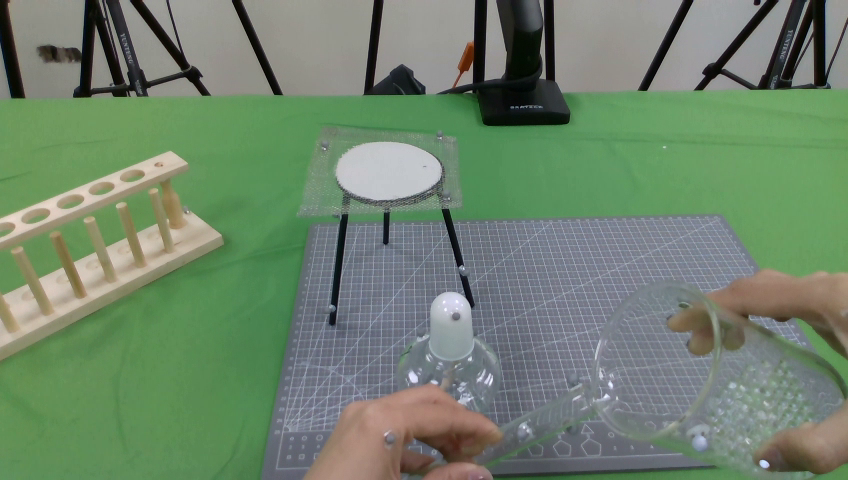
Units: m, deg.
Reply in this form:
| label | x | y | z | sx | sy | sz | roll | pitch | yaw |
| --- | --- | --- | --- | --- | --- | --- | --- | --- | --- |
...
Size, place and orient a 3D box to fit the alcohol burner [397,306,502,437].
| label | x | y | z | sx | sy | sz | roll | pitch | yaw |
| --- | --- | --- | --- | --- | --- | --- | --- | --- | --- |
| alcohol burner | 0.019 | 0.086 | 0.433 | 0.078 | 0.120 | 0.077 | 1 | 40 | 0 |

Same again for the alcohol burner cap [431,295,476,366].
| label | x | y | z | sx | sy | sz | roll | pitch | yaw |
| --- | --- | --- | --- | --- | --- | --- | --- | --- | --- |
| alcohol burner cap | 0.020 | 0.058 | 0.411 | 0.034 | 0.048 | 0.033 | -2 | 38 | 2 |

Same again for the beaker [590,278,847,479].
| label | x | y | z | sx | sy | sz | roll | pitch | yaw |
| --- | --- | --- | --- | --- | --- | --- | --- | --- | --- |
| beaker | 0.142 | 0.074 | 0.290 | 0.101 | 0.084 | 0.073 | 24 | 42 | -19 |

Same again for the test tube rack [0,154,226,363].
| label | x | y | z | sx | sy | sz | roll | pitch | yaw |
| --- | --- | --- | --- | --- | --- | --- | --- | --- | --- |
| test tube rack | -0.311 | 0.014 | 0.548 | 0.066 | 0.086 | 0.242 | 31 | 48 | 33 |

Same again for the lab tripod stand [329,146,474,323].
| label | x | y | z | sx | sy | sz | roll | pitch | yaw |
| --- | --- | --- | --- | --- | --- | --- | --- | --- | --- |
| lab tripod stand | -0.023 | -0.004 | 0.530 | 0.148 | 0.132 | 0.147 | 1 | 38 | -1 |

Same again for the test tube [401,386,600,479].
| label | x | y | z | sx | sy | sz | roll | pitch | yaw |
| --- | --- | --- | --- | --- | --- | --- | --- | --- | --- |
| test tube | 0.029 | 0.119 | 0.331 | 0.150 | 0.017 | 0.017 | -36 | 30 | 25 |

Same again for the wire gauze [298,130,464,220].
| label | x | y | z | sx | sy | sz | roll | pitch | yaw |
| --- | --- | --- | --- | --- | --- | --- | --- | --- | --- |
| wire gauze | -0.031 | -0.055 | 0.486 | 0.121 | 0.011 | 0.124 | 1 | 39 | -1 |
